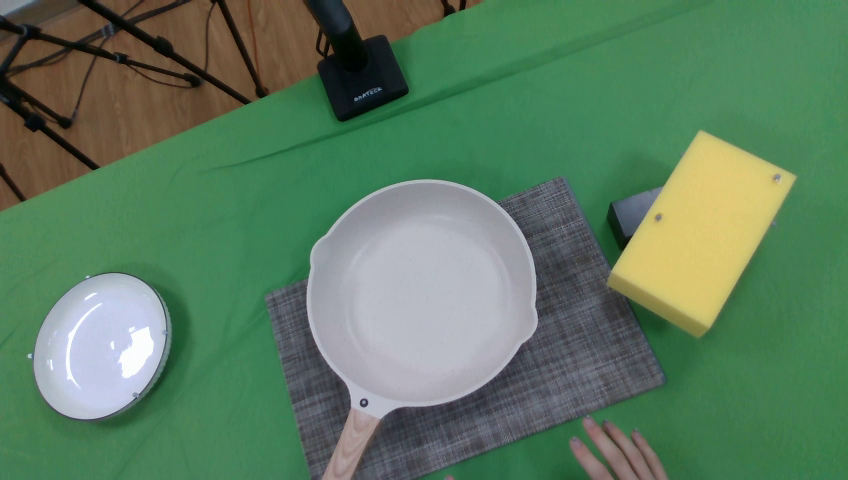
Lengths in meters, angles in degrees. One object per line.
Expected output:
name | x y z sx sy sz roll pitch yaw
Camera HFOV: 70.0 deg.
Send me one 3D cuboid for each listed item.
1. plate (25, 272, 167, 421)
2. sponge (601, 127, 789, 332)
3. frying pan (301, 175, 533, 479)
plate | -0.454 0.149 0.853 0.207 0.039 0.206 -3 71 9
sponge | 0.312 -0.014 0.704 0.117 0.061 0.206 31 79 18
frying pan | -0.050 0.149 0.740 0.305 0.103 0.485 19 67 17
